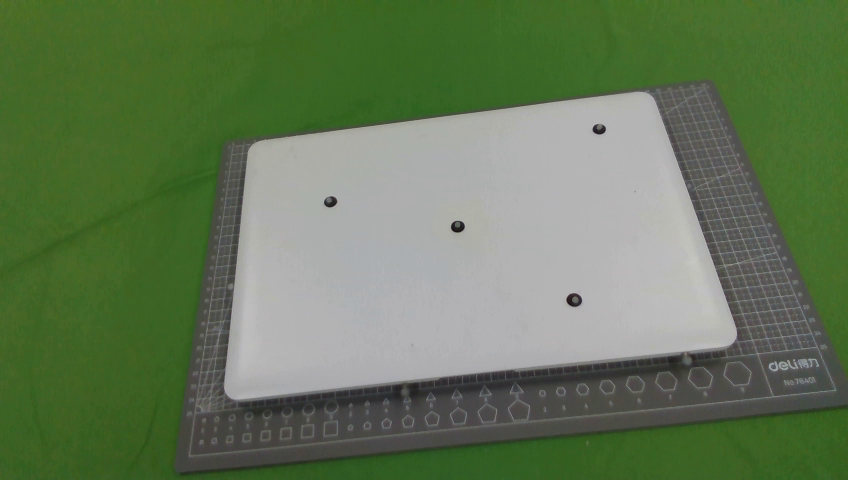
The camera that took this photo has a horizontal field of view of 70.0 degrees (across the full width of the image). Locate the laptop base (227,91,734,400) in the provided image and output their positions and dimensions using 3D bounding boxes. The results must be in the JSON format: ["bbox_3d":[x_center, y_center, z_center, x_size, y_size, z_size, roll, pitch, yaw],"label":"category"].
[{"bbox_3d":[0.028,-0.005,0.477,0.354,0.023,0.233,-7,61,3],"label":"laptop base"}]

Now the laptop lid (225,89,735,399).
[{"bbox_3d":[0.027,-0.009,0.466,0.356,0.013,0.239,-5,60,4],"label":"laptop lid"}]
